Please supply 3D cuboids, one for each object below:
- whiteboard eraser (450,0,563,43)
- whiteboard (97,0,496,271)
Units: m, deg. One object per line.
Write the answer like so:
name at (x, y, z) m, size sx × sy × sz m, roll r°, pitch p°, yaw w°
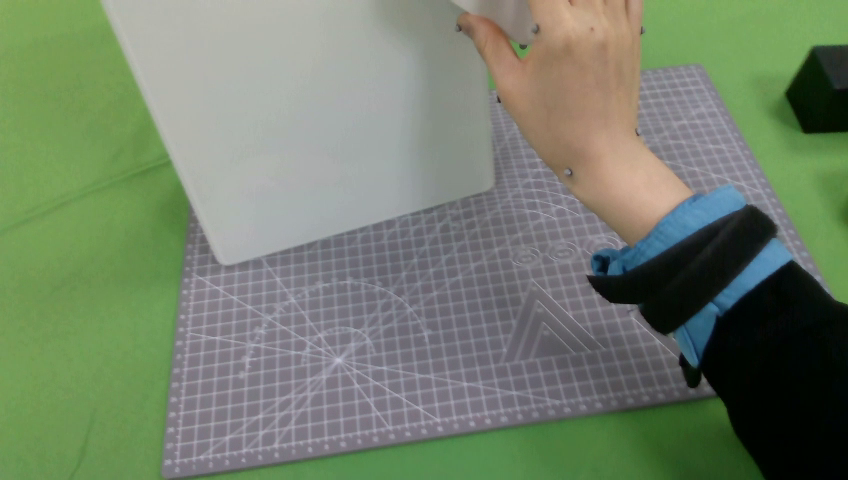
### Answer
whiteboard eraser at (0.037, -0.149, 0.347) m, size 0.102 × 0.041 × 0.018 m, roll 20°, pitch 24°, yaw -28°
whiteboard at (-0.086, -0.166, 0.418) m, size 0.217 × 0.308 × 0.142 m, roll -16°, pitch 38°, yaw -8°
